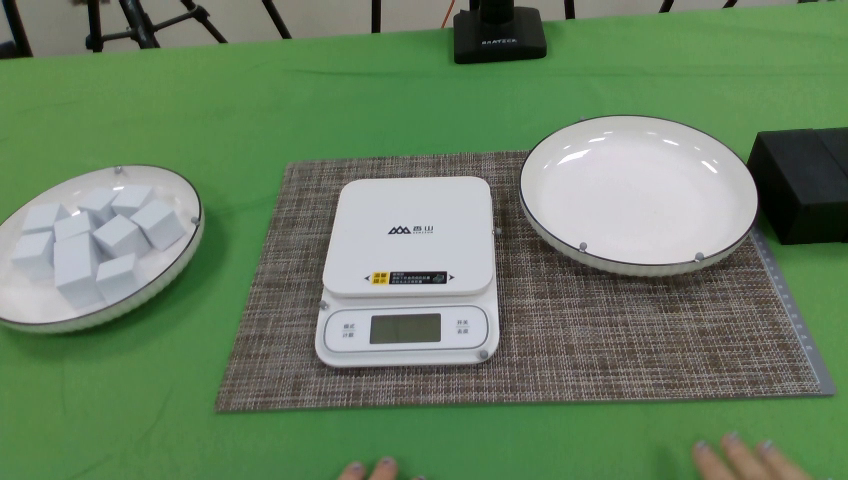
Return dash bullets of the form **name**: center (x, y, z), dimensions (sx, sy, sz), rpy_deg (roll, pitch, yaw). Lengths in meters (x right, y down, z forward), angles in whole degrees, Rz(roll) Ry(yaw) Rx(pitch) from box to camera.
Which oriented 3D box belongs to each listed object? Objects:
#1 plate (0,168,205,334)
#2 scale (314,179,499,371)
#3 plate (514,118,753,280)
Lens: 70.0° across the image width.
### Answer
- **plate**: center (-0.311, 0.010, 0.580), dimensions (0.209, 0.038, 0.207), rpy_deg (-3, 45, 3)
- **scale**: center (-0.012, 0.022, 0.532), dimensions (0.148, 0.032, 0.199), rpy_deg (-2, 46, 5)
- **plate**: center (0.188, -0.038, 0.563), dimensions (0.207, 0.039, 0.205), rpy_deg (-3, 46, 4)
